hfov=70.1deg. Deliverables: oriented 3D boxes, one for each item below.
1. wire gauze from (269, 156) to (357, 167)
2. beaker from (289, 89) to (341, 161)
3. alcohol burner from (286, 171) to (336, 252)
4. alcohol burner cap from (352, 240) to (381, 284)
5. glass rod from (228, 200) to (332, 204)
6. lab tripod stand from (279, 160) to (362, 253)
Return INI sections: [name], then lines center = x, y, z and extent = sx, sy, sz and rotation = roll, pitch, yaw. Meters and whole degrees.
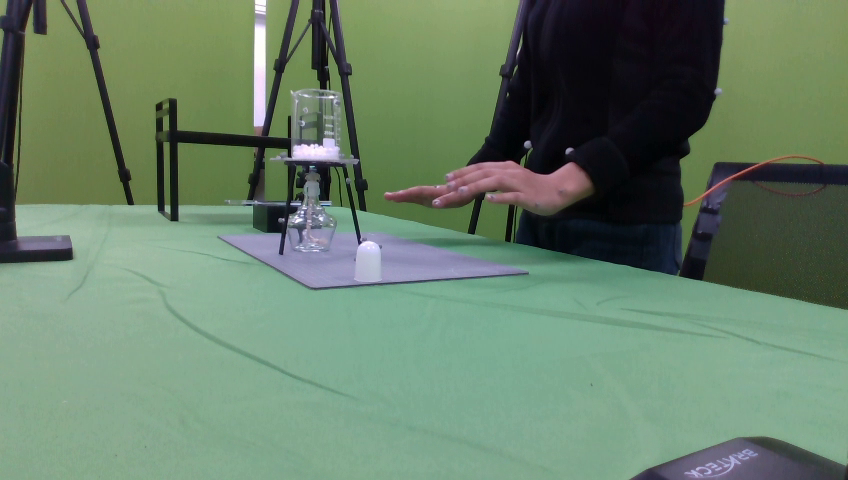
[wire gauze]
center = -0.159, -0.116, 0.886
extent = 0.122, 0.011, 0.125
rotation = 2, 4, -9
[beaker]
center = -0.161, -0.164, 0.879
extent = 0.073, 0.100, 0.084
rotation = 6, 8, 34
[alcohol burner]
center = -0.170, -0.043, 0.898
extent = 0.078, 0.119, 0.078
rotation = 2, 5, 0
[alcohol burner cap]
center = -0.065, 0.023, 0.690
extent = 0.034, 0.048, 0.034
rotation = 3, 9, 0
[glass rod]
center = -0.269, -0.072, 1.149
extent = 0.201, 0.008, 0.008
rotation = -1, 8, -30
[lab tripod stand]
center = -0.166, -0.052, 0.897
extent = 0.148, 0.131, 0.148
rotation = 0, 7, 0
